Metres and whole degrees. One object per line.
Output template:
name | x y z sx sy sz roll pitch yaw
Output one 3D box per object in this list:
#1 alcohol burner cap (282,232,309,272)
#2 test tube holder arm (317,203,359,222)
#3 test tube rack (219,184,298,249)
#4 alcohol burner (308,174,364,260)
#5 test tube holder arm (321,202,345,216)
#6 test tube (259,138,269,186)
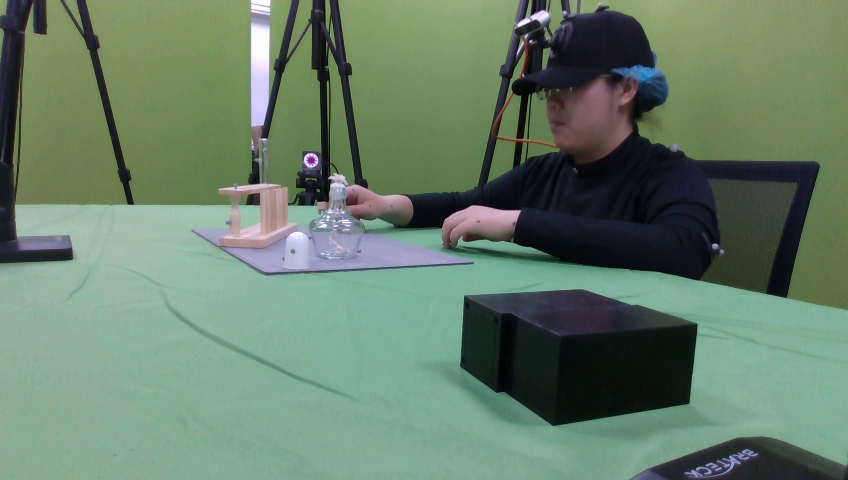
alcohol burner cap | -0.157 0.014 0.740 0.034 0.048 0.034 2 6 0
test tube holder arm | -0.158 -0.051 1.135 0.013 0.015 0.179 6 -3 14
test tube rack | -0.266 -0.046 1.001 0.067 0.085 0.242 3 7 0
alcohol burner | -0.121 -0.033 0.841 0.078 0.119 0.078 3 5 0
test tube holder arm | -0.164 -0.055 1.090 0.010 0.015 0.088 6 -3 16
test tube | -0.281 -0.104 1.064 0.017 0.150 0.017 2 12 0
